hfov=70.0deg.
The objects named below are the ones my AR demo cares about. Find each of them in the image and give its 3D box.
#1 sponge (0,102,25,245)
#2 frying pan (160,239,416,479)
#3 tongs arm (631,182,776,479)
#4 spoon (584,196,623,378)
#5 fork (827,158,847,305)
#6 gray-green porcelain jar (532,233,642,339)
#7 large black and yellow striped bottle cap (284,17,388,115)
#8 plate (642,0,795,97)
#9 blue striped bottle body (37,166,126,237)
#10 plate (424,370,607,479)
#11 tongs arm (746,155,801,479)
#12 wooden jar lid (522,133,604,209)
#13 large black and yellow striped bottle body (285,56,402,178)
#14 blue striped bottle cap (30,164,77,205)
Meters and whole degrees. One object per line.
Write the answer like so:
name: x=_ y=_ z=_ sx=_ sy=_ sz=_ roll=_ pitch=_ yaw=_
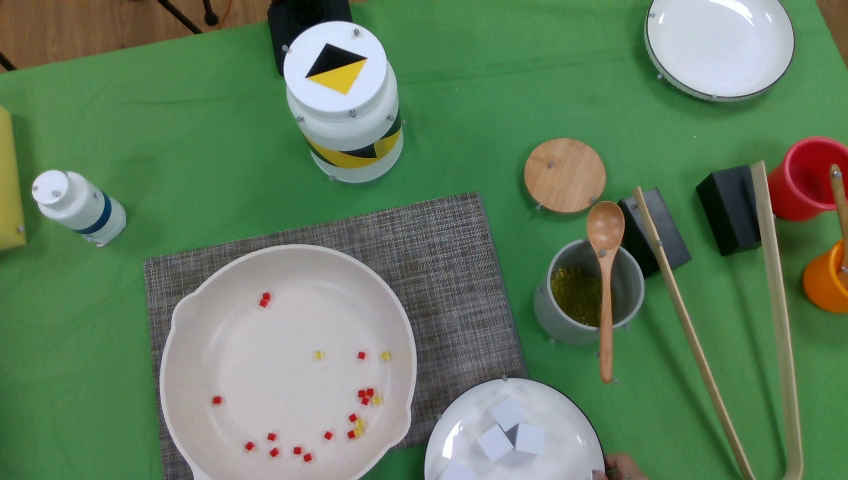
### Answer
sponge: x=-0.616 y=-0.088 z=0.800 sx=0.118 sy=0.061 sz=0.205 roll=-17 pitch=75 yaw=-5
frying pan: x=-0.204 y=0.229 z=0.680 sx=0.306 sy=0.103 sz=0.486 roll=28 pitch=68 yaw=9
tongs arm: x=0.332 y=0.107 z=0.718 sx=0.051 sy=0.026 sz=0.383 roll=-17 pitch=85 yaw=-6
spoon: x=0.192 y=0.049 z=0.646 sx=0.041 sy=0.022 sz=0.193 roll=4 pitch=78 yaw=-2
fork: x=0.494 y=-0.006 z=0.718 sx=0.028 sy=0.018 sz=0.209 roll=-25 pitch=119 yaw=2
gray-green porcelain jar: x=0.186 y=0.060 z=0.716 sx=0.106 sy=0.127 sz=0.105 roll=0 pitch=74 yaw=1
large black and yellow striped bottle cap: x=-0.098 y=-0.195 z=0.674 sx=0.115 sy=0.019 sz=0.114 roll=0 pitch=75 yaw=1
plate: x=0.411 y=-0.292 z=0.858 sx=0.209 sy=0.038 sz=0.208 roll=0 pitch=74 yaw=1
blue striped bottle body: x=-0.431 y=-0.050 z=0.756 sx=0.063 sy=0.121 sz=0.062 roll=0 pitch=73 yaw=1
plate: x=0.104 y=0.257 z=0.705 sx=0.208 sy=0.039 sz=0.206 roll=0 pitch=76 yaw=0
tongs arm: x=0.413 y=0.090 z=0.723 sx=0.028 sy=0.028 sz=0.386 roll=-3 pitch=84 yaw=-8
wooden jar lid: x=0.186 y=-0.091 z=0.814 sx=0.108 sy=0.021 sz=0.108 roll=0 pitch=75 yaw=1
large black and yellow striped bottle body: x=-0.097 y=-0.170 z=0.755 sx=0.131 sy=0.185 sz=0.130 roll=0 pitch=73 yaw=1
blue striped bottle cap: x=-0.433 y=-0.065 z=0.707 sx=0.044 sy=0.021 sz=0.044 roll=0 pitch=75 yaw=0
